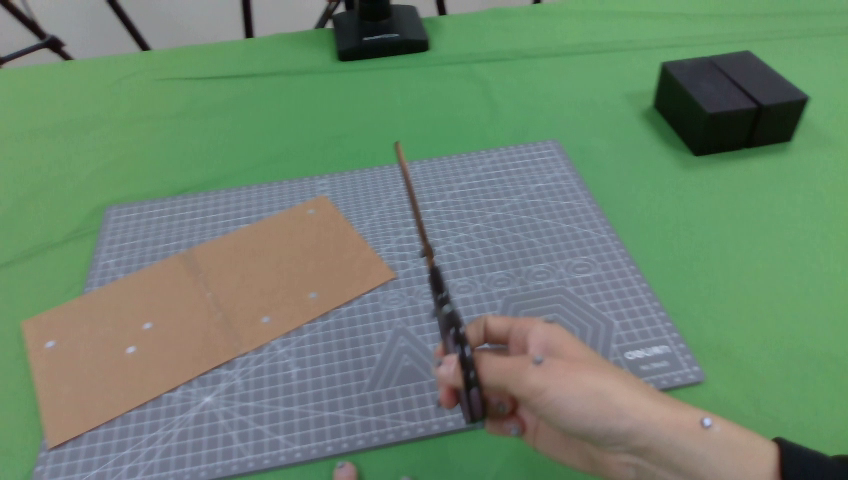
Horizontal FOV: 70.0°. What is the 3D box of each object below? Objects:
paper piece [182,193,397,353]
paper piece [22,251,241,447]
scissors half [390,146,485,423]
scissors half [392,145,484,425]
[{"bbox_3d":[-0.115,0.019,0.512,0.138,0.009,0.134,-25,52,-22],"label":"paper piece"},{"bbox_3d":[-0.227,0.073,0.462,0.136,0.004,0.134,-26,47,-21],"label":"paper piece"},{"bbox_3d":[0.003,0.016,0.343,0.013,0.040,0.173,-17,63,-2],"label":"scissors half"},{"bbox_3d":[0.004,0.023,0.362,0.013,0.040,0.174,-15,80,-7],"label":"scissors half"}]
